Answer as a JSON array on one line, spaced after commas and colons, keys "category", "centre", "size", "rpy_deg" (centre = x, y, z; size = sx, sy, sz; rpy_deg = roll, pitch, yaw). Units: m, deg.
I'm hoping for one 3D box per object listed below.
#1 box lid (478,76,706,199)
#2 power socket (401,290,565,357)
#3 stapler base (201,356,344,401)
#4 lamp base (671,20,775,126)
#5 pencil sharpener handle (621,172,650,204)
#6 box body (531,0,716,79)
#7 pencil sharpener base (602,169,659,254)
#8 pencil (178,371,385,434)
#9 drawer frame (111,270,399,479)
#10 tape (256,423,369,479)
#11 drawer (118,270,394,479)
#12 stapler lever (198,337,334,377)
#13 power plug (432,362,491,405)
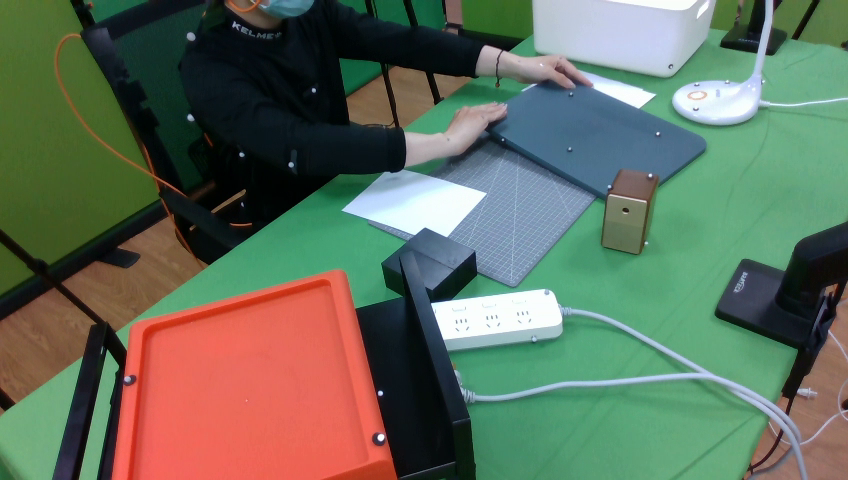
[{"category": "box lid", "centre": [0.310, -0.205, 1.153], "size": [0.264, 0.015, 0.368], "rpy_deg": [-32, 51, -28]}, {"category": "power socket", "centre": [0.080, 0.113, 0.821], "size": [0.227, 0.033, 0.072], "rpy_deg": [-6, 41, 0]}, {"category": "stapler base", "centre": [-0.142, 0.123, 0.557], "size": [0.130, 0.024, 0.041], "rpy_deg": [-2, 43, 3]}, {"category": "lamp base", "centre": [0.582, -0.332, 1.153], "size": [0.179, 0.181, 0.160], "rpy_deg": [2, 42, 7]}, {"category": "pencil sharpener handle", "centre": [0.328, -0.086, 0.940], "size": [0.036, 0.068, 0.030], "rpy_deg": [30, 49, 8]}, {"category": "box body", "centre": [0.459, -0.522, 1.407], "size": [0.361, 0.161, 0.255], "rpy_deg": [22, 49, 30]}, {"category": "pencil sharpener base", "centre": [0.312, -0.044, 0.913], "size": [0.061, 0.107, 0.077], "rpy_deg": [14, 45, 24]}, {"category": "pencil", "centre": [-0.128, 0.141, 0.534], "size": [0.194, 0.012, 0.012], "rpy_deg": [14, 44, 7]}, {"category": "drawer frame", "centre": [-0.140, 0.140, 0.506], "size": [0.202, 0.083, 0.212], "rpy_deg": [-15, 41, -9]}, {"category": "tape", "centre": [-0.121, 0.262, 0.660], "size": [0.117, 0.053, 0.116], "rpy_deg": [-4, 40, 4]}, {"category": "drawer", "centre": [-0.141, 0.139, 0.509], "size": [0.195, 0.073, 0.210], "rpy_deg": [-14, 42, -8]}, {"category": "stapler lever", "centre": [-0.142, 0.105, 0.541], "size": [0.118, 0.040, 0.026], "rpy_deg": [-3, 43, 4]}, {"category": "power plug", "centre": [0.044, 0.182, 0.759], "size": [0.073, 0.035, 0.052], "rpy_deg": [23, 42, -19]}]
